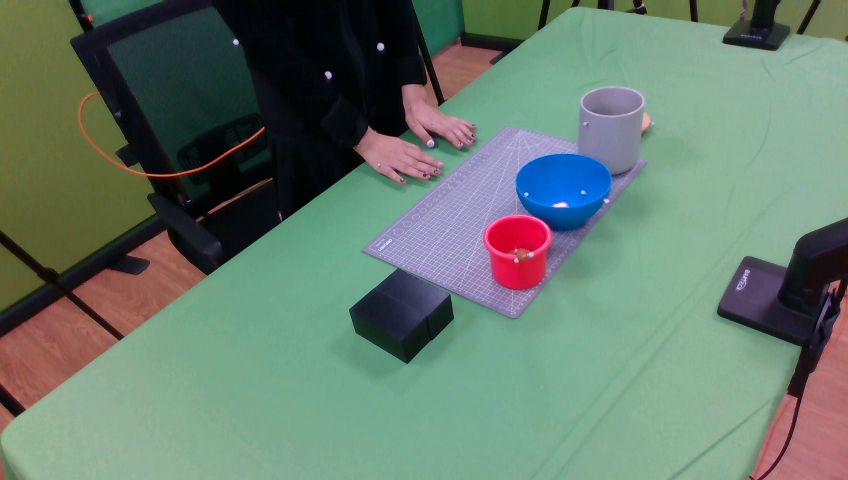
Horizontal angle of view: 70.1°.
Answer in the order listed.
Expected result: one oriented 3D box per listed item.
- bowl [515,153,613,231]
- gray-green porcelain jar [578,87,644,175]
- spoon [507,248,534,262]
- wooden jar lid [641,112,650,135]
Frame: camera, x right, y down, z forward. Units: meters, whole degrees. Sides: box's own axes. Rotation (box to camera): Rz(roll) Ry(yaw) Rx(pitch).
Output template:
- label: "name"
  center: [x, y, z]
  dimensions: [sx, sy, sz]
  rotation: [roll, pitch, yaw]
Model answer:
- label: "bowl"
  center: [0.224, -0.068, 0.972]
  dimensions: [0.151, 0.077, 0.150]
  rotation: [-5, 40, 5]
- label: "gray-green porcelain jar"
  center: [0.324, -0.185, 1.055]
  dimensions: [0.106, 0.127, 0.105]
  rotation: [-5, 40, 5]
- label: "spoon"
  center: [0.135, 0.020, 0.835]
  dimensions: [0.041, 0.021, 0.194]
  rotation: [-2, -4, 8]
- label: "wooden jar lid"
  center: [0.382, -0.225, 1.178]
  dimensions: [0.108, 0.021, 0.108]
  rotation: [-5, 40, 4]
